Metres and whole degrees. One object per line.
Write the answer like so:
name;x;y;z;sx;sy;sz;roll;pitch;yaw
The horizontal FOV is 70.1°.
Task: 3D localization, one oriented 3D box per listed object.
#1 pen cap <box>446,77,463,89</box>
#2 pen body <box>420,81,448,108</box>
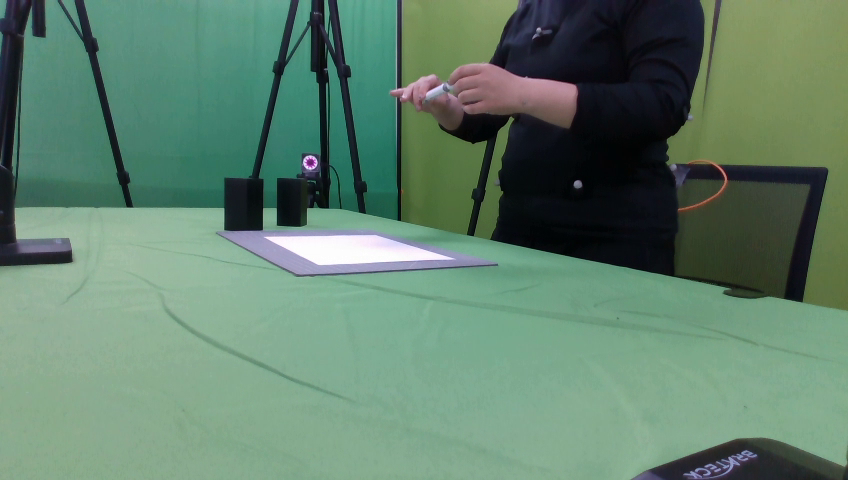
pen cap;0.054;-0.273;1.054;0.017;0.017;0.038;-1;4;-25
pen body;0.020;-0.270;1.122;0.017;0.017;0.143;1;-4;-17
